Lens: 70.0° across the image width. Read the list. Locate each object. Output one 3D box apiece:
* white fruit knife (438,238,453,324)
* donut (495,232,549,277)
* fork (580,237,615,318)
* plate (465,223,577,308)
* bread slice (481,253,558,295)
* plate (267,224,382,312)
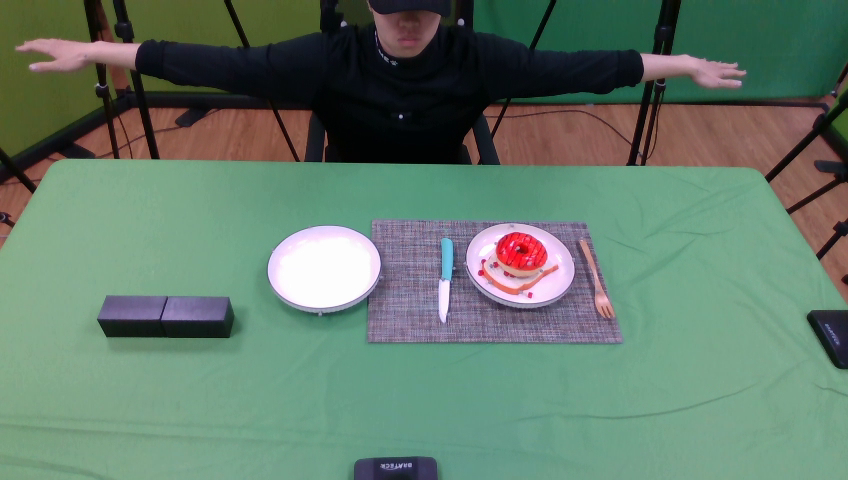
[{"bbox_3d":[0.040,0.073,1.130,0.027,0.016,0.206,-17,44,21],"label":"white fruit knife"},{"bbox_3d":[0.180,0.026,1.119,0.099,0.048,0.098,2,46,-2],"label":"donut"},{"bbox_3d":[0.325,0.067,1.150,0.028,0.019,0.206,-6,48,1],"label":"fork"},{"bbox_3d":[0.180,0.051,1.144,0.209,0.038,0.208,2,45,-2],"label":"plate"},{"bbox_3d":[0.177,0.050,1.148,0.131,0.019,0.104,-32,55,-31],"label":"bread slice"},{"bbox_3d":[-0.182,0.055,1.120,0.208,0.039,0.206,2,46,-2],"label":"plate"}]
